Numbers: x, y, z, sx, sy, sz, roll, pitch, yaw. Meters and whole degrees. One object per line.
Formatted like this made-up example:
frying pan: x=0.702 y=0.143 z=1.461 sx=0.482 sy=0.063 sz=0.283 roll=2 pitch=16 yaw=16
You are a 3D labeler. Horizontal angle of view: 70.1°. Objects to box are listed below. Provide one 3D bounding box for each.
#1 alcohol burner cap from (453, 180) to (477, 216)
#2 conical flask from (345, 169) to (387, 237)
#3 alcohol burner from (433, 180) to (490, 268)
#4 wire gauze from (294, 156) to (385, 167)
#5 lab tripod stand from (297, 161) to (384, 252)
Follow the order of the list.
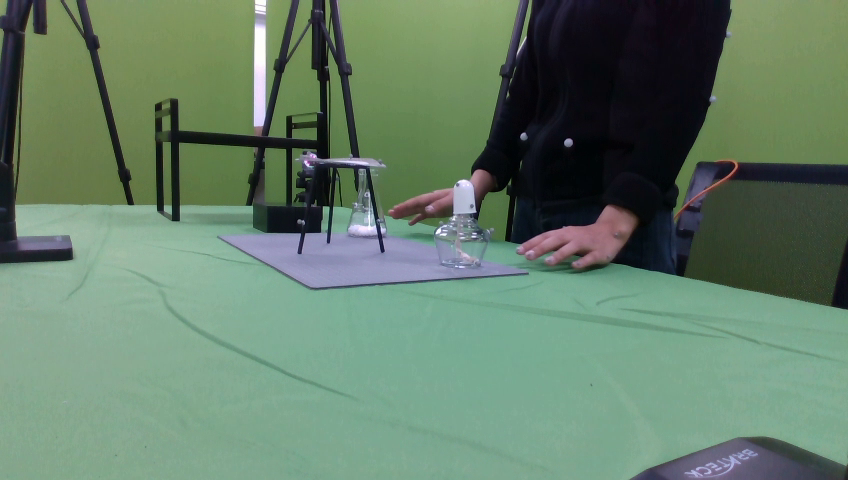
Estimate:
alcohol burner cap: x=0.054 y=-0.057 z=0.811 sx=0.034 sy=0.048 sz=0.034 roll=-3 pitch=6 yaw=1
conical flask: x=-0.103 y=-0.068 z=1.091 sx=0.075 sy=0.122 sz=0.075 roll=2 pitch=7 yaw=0
alcohol burner: x=0.052 y=-0.021 z=0.816 sx=0.078 sy=0.119 sz=0.078 roll=4 pitch=7 yaw=0
wire gauze: x=-0.128 y=-0.118 z=0.901 sx=0.125 sy=0.011 sz=0.121 roll=0 pitch=8 yaw=-14
lab tripod stand: x=-0.130 y=-0.051 z=0.903 sx=0.148 sy=0.131 sz=0.148 roll=3 pitch=9 yaw=0
